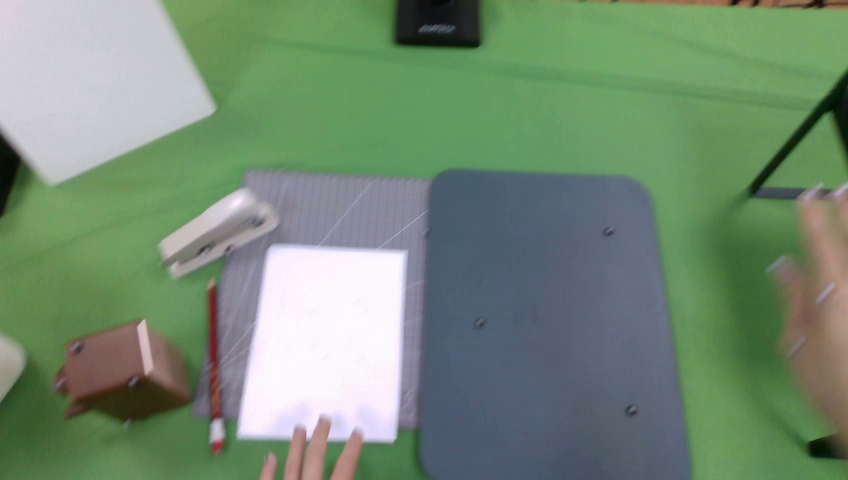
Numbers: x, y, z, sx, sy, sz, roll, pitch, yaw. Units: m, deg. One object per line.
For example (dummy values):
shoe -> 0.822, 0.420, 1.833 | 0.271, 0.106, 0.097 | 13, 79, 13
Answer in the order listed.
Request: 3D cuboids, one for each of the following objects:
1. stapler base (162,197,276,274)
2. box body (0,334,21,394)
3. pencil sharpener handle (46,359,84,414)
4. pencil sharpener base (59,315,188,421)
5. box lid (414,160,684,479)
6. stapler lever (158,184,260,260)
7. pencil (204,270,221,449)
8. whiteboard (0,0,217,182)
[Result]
stapler base -> -0.232, -0.011, 0.682 | 0.130, 0.024, 0.041 | -30, 64, -11
box body -> -0.605, 0.117, 0.539 | 0.363, 0.161, 0.253 | 22, 66, 10
pencil sharpener handle -> -0.328, 0.137, 0.550 | 0.031, 0.068, 0.035 | -18, 49, -8
pencil sharpener base -> -0.281, 0.124, 0.571 | 0.077, 0.108, 0.061 | -17, 65, -8
box lid -> 0.129, 0.073, 0.655 | 0.263, 0.015, 0.368 | 3, 64, 0
stapler lever -> -0.235, -0.022, 0.659 | 0.118, 0.040, 0.026 | -30, 64, -11
pencil -> -0.221, 0.118, 0.627 | 0.012, 0.012, 0.192 | -10, 64, -5
whiteboard -> -0.412, -0.261, 0.681 | 0.217, 0.308, 0.142 | -28, 48, -13
